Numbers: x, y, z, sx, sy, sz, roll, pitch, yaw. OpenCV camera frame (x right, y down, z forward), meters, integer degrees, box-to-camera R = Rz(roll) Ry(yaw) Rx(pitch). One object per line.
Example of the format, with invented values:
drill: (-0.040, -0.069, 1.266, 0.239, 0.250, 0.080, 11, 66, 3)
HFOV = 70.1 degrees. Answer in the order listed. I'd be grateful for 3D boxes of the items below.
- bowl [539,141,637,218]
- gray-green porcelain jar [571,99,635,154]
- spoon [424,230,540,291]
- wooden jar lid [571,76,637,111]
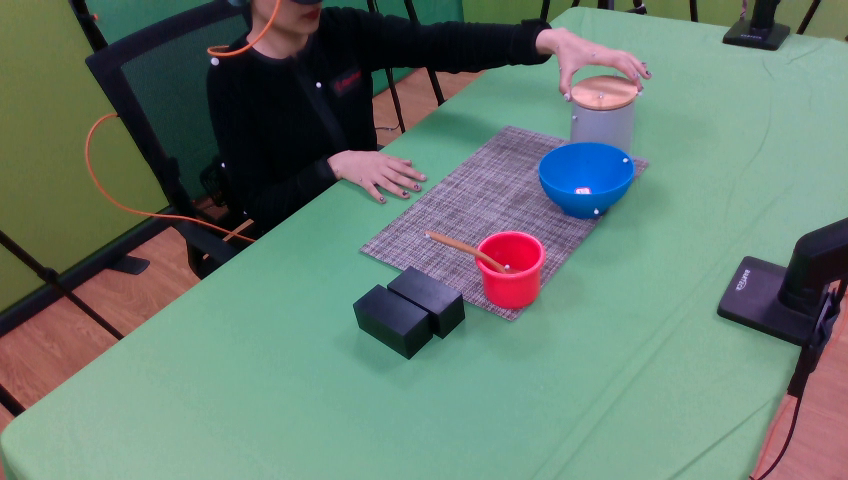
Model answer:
bowl: (0.264, -0.089, 0.989, 0.151, 0.077, 0.150, -5, 40, 5)
gray-green porcelain jar: (0.313, -0.197, 1.069, 0.106, 0.127, 0.105, -5, 40, 5)
spoon: (0.083, 0.026, 0.836, 0.195, 0.021, 0.041, 29, 31, -24)
wooden jar lid: (0.305, -0.246, 1.027, 0.108, 0.021, 0.108, -5, 41, 5)
